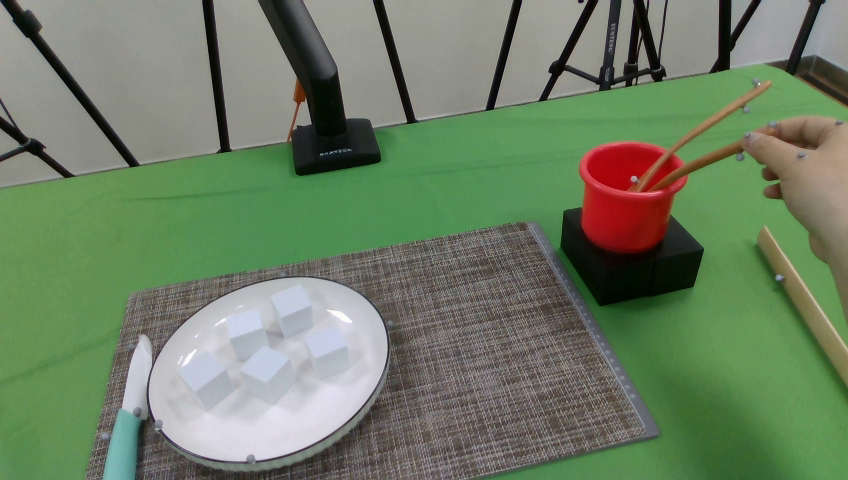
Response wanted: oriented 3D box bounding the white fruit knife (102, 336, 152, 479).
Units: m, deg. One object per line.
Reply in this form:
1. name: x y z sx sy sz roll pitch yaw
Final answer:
1. white fruit knife: -0.253 0.156 0.522 0.027 0.016 0.205 13 30 -25

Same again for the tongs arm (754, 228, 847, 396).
1. tongs arm: 0.367 0.115 0.509 0.028 0.028 0.383 -2 39 0

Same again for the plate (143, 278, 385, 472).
1. plate: -0.136 0.116 0.540 0.207 0.039 0.205 -2 39 2

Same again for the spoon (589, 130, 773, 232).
1. spoon: 0.217 -0.048 0.538 0.021 0.194 0.041 46 55 -2

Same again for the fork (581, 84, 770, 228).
1. fork: 0.237 -0.077 0.581 0.207 0.019 0.028 -43 13 18
